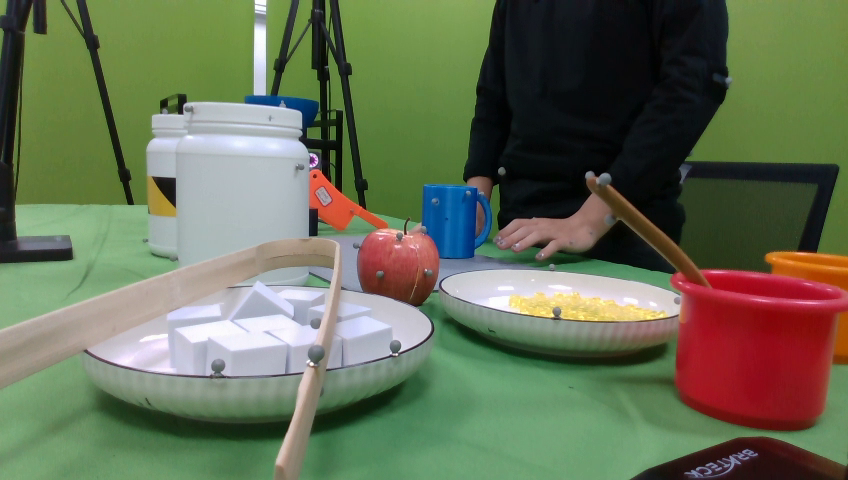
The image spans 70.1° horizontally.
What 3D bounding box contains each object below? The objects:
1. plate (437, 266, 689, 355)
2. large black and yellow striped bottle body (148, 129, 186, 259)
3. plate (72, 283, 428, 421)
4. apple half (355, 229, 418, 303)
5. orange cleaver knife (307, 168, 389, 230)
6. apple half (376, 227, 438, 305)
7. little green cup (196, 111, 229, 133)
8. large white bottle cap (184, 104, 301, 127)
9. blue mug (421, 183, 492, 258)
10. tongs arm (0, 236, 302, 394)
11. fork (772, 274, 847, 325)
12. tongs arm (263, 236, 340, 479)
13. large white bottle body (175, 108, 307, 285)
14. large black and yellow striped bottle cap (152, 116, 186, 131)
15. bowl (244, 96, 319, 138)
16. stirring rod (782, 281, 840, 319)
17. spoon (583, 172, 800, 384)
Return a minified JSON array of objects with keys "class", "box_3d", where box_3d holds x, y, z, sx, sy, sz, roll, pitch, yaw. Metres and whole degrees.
[{"class":"plate","box_3d":[0.114,0.057,0.517,0.209,0.038,0.209,3,7,0]},{"class":"large black and yellow striped bottle body","box_3d":[-0.310,-0.073,0.838,0.131,0.184,0.130,2,8,0]},{"class":"plate","box_3d":[-0.102,0.066,0.381,0.208,0.039,0.207,2,7,0]},{"class":"apple half","box_3d":[-0.043,0.027,0.564,0.081,0.081,0.033,9,5,42]},{"class":"orange cleaver knife","box_3d":[-0.158,-0.060,1.166,0.212,0.077,0.012,34,-12,-32]},{"class":"apple half","box_3d":[-0.017,0.026,0.593,0.080,0.074,0.053,4,2,43]},{"class":"little green cup","box_3d":[-0.403,-0.225,1.154,0.061,0.038,0.061,3,8,0]},{"class":"large white bottle cap","box_3d":[-0.184,-0.126,0.618,0.115,0.018,0.115,2,8,0]},{"class":"blue mug","box_3d":[0.052,-0.032,0.912,0.117,0.106,0.082,-1,8,-24]},{"class":"tongs arm","box_3d":[-0.158,0.038,0.351,0.028,0.028,0.388,-3,8,11]},{"class":"fork","box_3d":[0.332,0.018,0.443,0.028,0.018,0.207,-1,-36,-15]},{"class":"tongs arm","box_3d":[-0.074,0.040,0.349,0.051,0.026,0.384,-2,9,-3]},{"class":"large white bottle body","box_3d":[-0.188,-0.042,0.630,0.131,0.184,0.130,2,8,0]},{"class":"large black and yellow striped bottle cap","box_3d":[-0.309,-0.155,0.826,0.115,0.019,0.115,3,6,0]},{"class":"bowl","box_3d":[-0.295,-0.252,1.254,0.151,0.077,0.151,2,8,0]},{"class":"stirring rod","box_3d":[0.344,0.019,0.460,0.014,0.006,0.176,-13,-27,-30]},{"class":"spoon","box_3d":[0.159,0.026,0.358,0.194,0.021,0.041,46,-2,-14]}]
